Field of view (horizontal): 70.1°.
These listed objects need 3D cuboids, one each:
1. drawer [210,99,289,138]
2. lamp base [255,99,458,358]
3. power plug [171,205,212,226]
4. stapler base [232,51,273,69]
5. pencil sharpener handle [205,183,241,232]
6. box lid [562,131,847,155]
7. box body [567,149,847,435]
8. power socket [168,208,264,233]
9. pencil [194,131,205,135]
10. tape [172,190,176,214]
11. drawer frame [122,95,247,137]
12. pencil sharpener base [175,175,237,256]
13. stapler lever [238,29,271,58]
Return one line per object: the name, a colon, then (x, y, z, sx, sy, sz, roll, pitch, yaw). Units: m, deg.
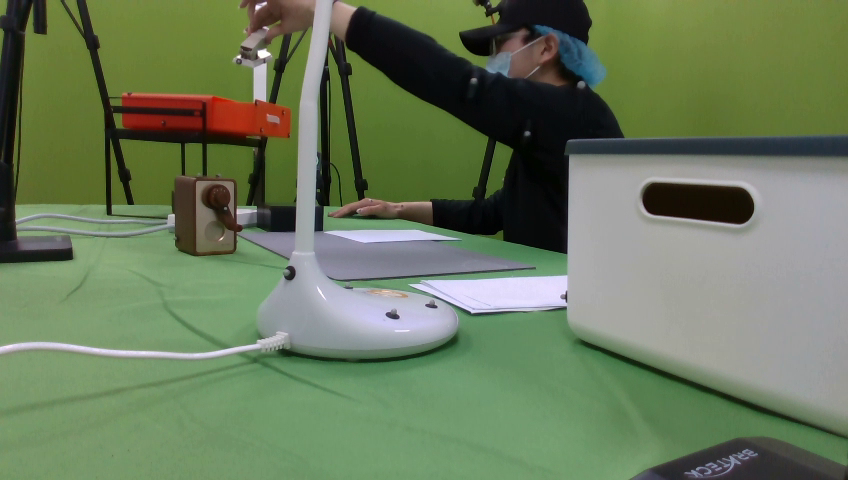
drawer: (-0.433, -0.273, 1.364, 0.211, 0.073, 0.195, 3, 8, 9)
lamp base: (-0.056, -0.013, 0.462, 0.160, 0.180, 0.180, 6, 11, 27)
power plug: (-0.455, -0.040, 1.196, 0.052, 0.035, 0.072, 1, 43, 24)
stapler base: (-0.326, -0.354, 1.163, 0.041, 0.024, 0.130, 13, 26, -1)
pencil sharpener handle: (-0.265, -0.043, 0.812, 0.036, 0.068, 0.030, -31, 27, -35)
box lid: (0.322, -0.064, 0.463, 0.373, 0.015, 0.262, -2, 9, -31)
box body: (0.318, 0.009, 0.471, 0.366, 0.160, 0.253, -2, 8, -31)
power socket: (-0.381, -0.038, 1.129, 0.072, 0.032, 0.227, 4, 8, 17)
pencil: (-0.424, -0.251, 1.350, 0.012, 0.012, 0.195, 8, 21, 38)
tape: (-0.516, -0.086, 1.389, 0.117, 0.052, 0.117, 4, 7, 0)
drawer frame: (-0.526, -0.281, 1.376, 0.213, 0.082, 0.202, 3, 8, 8)
pencil sharpener base: (-0.304, -0.036, 0.847, 0.062, 0.107, 0.076, -4, 10, -42)
stapler lever: (-0.320, -0.375, 1.151, 0.027, 0.040, 0.118, 13, 26, -1)
